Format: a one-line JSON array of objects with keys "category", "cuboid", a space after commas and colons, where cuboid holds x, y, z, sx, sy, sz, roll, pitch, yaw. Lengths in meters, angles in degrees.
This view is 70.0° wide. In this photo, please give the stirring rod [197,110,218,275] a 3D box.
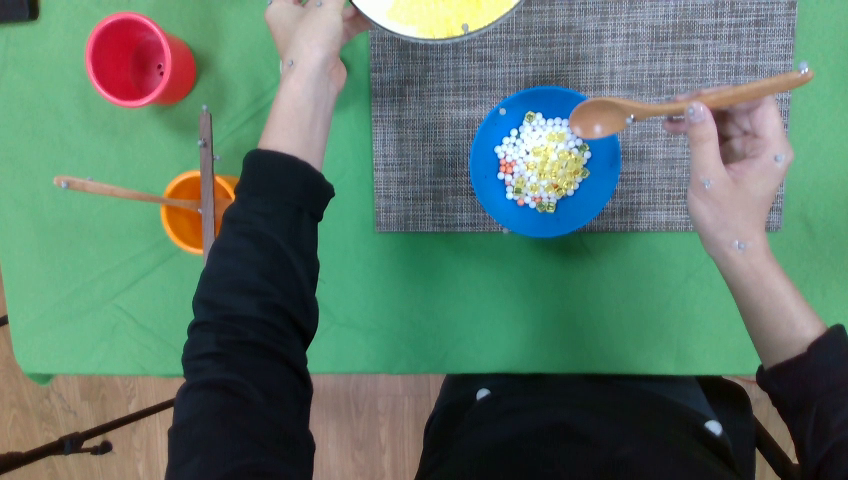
[{"category": "stirring rod", "cuboid": [-0.231, -0.049, 0.647, 0.014, 0.006, 0.176, 1, 99, 8]}]

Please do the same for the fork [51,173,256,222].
[{"category": "fork", "cuboid": [-0.283, -0.046, 0.657, 0.209, 0.018, 0.028, 10, 106, -39]}]

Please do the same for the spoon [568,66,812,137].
[{"category": "spoon", "cuboid": [0.195, -0.106, 0.474, 0.042, 0.192, 0.021, 48, 65, -28]}]

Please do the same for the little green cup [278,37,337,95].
[{"category": "little green cup", "cuboid": [-0.126, -0.190, 0.672, 0.061, 0.038, 0.061, 1, 99, 7]}]

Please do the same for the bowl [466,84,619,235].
[{"category": "bowl", "cuboid": [0.121, -0.084, 0.640, 0.151, 0.076, 0.151, 1, 99, 6]}]

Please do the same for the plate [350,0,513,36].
[{"category": "plate", "cuboid": [0.009, -0.291, 0.557, 0.209, 0.038, 0.209, 0, 94, 8]}]
